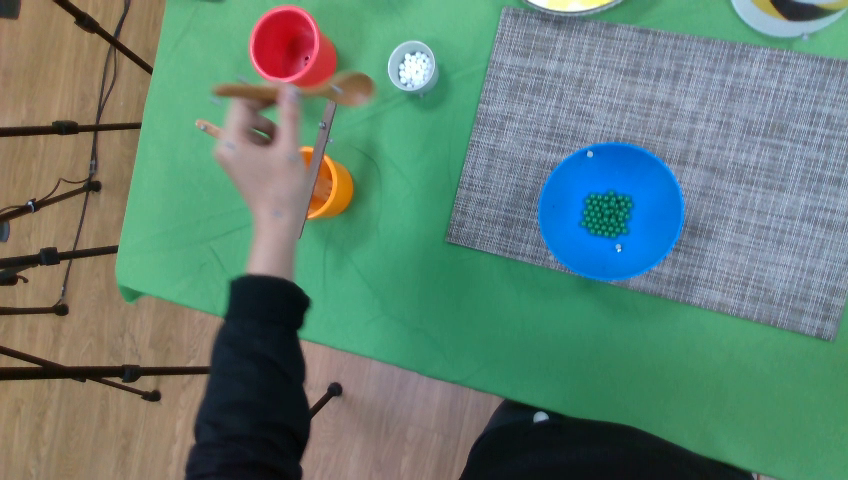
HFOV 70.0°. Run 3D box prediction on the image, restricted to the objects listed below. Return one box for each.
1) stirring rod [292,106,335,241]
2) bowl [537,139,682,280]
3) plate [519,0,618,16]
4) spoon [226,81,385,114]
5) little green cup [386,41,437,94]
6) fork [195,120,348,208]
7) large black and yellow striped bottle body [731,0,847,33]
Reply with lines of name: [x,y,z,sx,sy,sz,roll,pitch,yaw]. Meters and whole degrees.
stirring rod: [-0.135,-0.084,0.740,0.014,0.006,0.176,16,95,17]
bowl: [0.207,-0.031,0.683,0.151,0.077,0.151,0,90,16]
plate: [0.179,-0.366,0.714,0.208,0.038,0.209,0,91,15]
spoon: [-0.107,-0.137,0.588,0.021,0.194,0.042,48,124,16]
little green cup: [-0.013,-0.215,0.766,0.061,0.039,0.061,0,90,16]
fork: [-0.186,-0.094,0.756,0.209,0.018,0.028,28,102,-30]
large black and yellow striped bottle body: [0.380,-0.292,0.584,0.130,0.184,0.130,0,90,16]
